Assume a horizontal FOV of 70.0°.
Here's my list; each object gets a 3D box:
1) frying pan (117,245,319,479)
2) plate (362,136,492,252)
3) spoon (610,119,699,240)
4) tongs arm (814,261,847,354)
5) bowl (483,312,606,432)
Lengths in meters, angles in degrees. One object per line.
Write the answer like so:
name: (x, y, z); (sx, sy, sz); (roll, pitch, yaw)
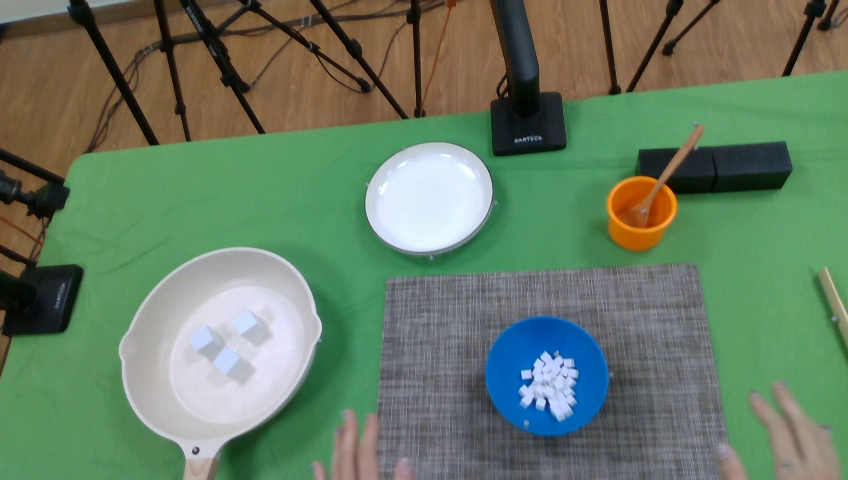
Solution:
frying pan: (-0.294, 0.234, 0.830); (0.306, 0.104, 0.483); (-6, 54, 10)
plate: (0.006, -0.071, 0.963); (0.207, 0.039, 0.206); (-5, 63, 9)
spoon: (0.321, -0.081, 0.842); (0.022, 0.194, 0.041); (-8, 45, -45)
tongs arm: (0.553, 0.199, 0.722); (0.028, 0.028, 0.384); (-10, 62, 4)
bowl: (0.154, 0.176, 0.780); (0.151, 0.077, 0.150); (-4, 63, 9)
